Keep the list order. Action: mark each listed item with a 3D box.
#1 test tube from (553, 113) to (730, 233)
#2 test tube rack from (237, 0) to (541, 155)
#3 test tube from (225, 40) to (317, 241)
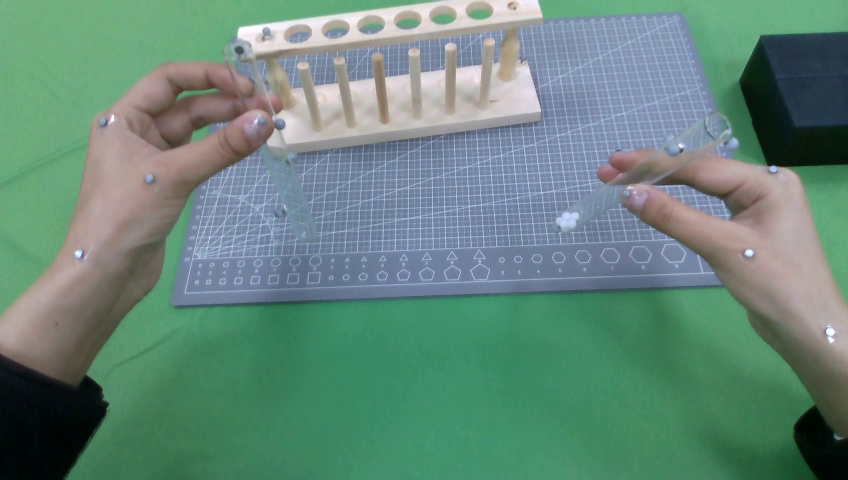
[{"bbox_3d":[0.118,-0.033,0.357,0.017,0.150,0.017,6,71,-17],"label":"test tube"},{"bbox_3d":[-0.025,-0.139,0.512,0.242,0.086,0.066,-8,59,-1],"label":"test tube rack"},{"bbox_3d":[-0.087,-0.050,0.363,0.017,0.152,0.017,-3,50,4],"label":"test tube"}]
